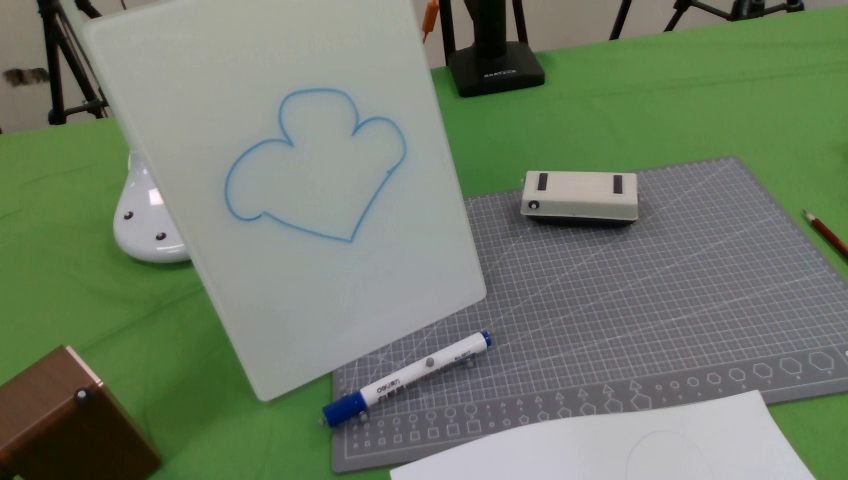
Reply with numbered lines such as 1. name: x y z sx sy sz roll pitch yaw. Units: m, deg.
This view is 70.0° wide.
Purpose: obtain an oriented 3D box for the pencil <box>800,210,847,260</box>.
1. pencil: 0.387 0.031 0.524 0.012 0.012 0.192 -11 40 -3

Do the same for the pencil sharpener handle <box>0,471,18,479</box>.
1. pencil sharpener handle: -0.282 0.160 0.390 0.035 0.068 0.030 17 47 42

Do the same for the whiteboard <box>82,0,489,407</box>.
1. whiteboard: -0.100 -0.059 0.518 0.217 0.308 0.142 -23 25 -15

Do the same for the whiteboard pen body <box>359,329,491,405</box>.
1. whiteboard pen body: -0.009 0.106 0.484 0.141 0.017 0.017 -23 44 -15

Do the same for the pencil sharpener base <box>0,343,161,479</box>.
1. pencil sharpener base: -0.249 0.139 0.426 0.061 0.108 0.076 28 53 32

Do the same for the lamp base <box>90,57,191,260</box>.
1. lamp base: -0.282 -0.095 0.634 0.178 0.182 0.160 20 49 31

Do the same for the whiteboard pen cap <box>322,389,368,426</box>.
1. whiteboard pen cap: -0.061 0.129 0.469 0.033 0.018 0.018 -24 44 -16

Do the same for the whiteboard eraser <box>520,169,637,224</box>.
1. whiteboard eraser: 0.156 -0.044 0.611 0.112 0.042 0.055 4 44 13
